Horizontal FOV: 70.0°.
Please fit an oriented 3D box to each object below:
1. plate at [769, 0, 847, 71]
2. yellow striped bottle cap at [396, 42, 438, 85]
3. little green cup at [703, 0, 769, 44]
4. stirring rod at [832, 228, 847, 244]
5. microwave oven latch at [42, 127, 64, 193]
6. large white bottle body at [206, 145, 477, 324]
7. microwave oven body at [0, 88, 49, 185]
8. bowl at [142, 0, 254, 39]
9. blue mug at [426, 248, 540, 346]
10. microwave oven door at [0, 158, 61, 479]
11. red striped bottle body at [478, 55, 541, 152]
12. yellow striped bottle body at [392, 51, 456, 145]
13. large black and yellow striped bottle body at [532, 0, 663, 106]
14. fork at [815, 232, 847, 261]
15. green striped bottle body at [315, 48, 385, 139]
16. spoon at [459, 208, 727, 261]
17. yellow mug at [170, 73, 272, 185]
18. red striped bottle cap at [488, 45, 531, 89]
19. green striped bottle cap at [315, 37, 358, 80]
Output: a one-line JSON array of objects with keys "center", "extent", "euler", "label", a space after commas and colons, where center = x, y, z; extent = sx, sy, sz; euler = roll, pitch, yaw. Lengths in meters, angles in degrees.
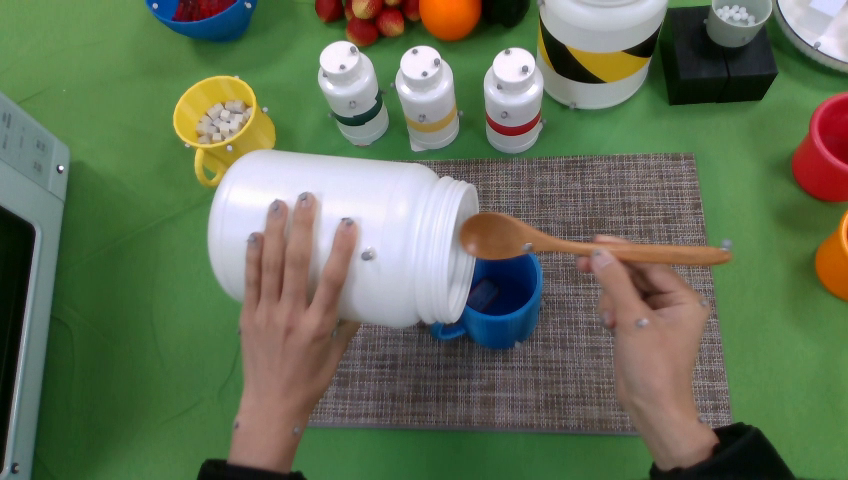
[{"center": [0.507, -0.276, 0.704], "extent": [0.209, 0.038, 0.207], "euler": [-2, 68, 6], "label": "plate"}, {"center": [-0.007, -0.183, 0.629], "extent": [0.044, 0.019, 0.044], "euler": [-1, 65, 2], "label": "yellow striped bottle cap"}, {"center": [0.335, -0.245, 0.657], "extent": [0.061, 0.039, 0.061], "euler": [-2, 65, 4], "label": "little green cup"}, {"center": [0.413, 0.026, 0.538], "extent": [0.014, 0.006, 0.175], "euler": [2, 25, 6], "label": "stirring rod"}, {"center": [-0.456, -0.095, 0.730], "extent": [0.030, 0.030, 0.078], "euler": [-8, 68, 4], "label": "microwave oven latch"}, {"center": [-0.058, -0.004, 0.481], "extent": [0.184, 0.132, 0.130], "euler": [7, 69, 14], "label": "large white bottle body"}, {"center": [-0.592, 0.053, 0.582], "extent": [0.326, 0.262, 0.438], "euler": [-9, 68, 3], "label": "microwave oven body"}, {"center": [-0.284, -0.322, 0.800], "extent": [0.151, 0.077, 0.150], "euler": [-2, 68, 6], "label": "bowl"}, {"center": [0.053, 0.058, 0.583], "extent": [0.116, 0.107, 0.081], "euler": [-30, 66, -5], "label": "blue mug"}, {"center": [-0.444, 0.066, 0.552], "extent": [0.039, 0.246, 0.353], "euler": [-10, 67, 4], "label": "microwave oven door"}, {"center": [0.094, -0.154, 0.662], "extent": [0.063, 0.121, 0.062], "euler": [-5, 64, 11], "label": "red striped bottle body"}, {"center": [0.000, -0.164, 0.676], "extent": [0.063, 0.121, 0.062], "euler": [-3, 67, 7], "label": "yellow striped bottle body"}, {"center": [0.185, -0.248, 0.653], "extent": [0.130, 0.185, 0.130], "euler": [-3, 67, 7], "label": "large black and yellow striped bottle body"}, {"center": [0.441, 0.028, 0.526], "extent": [0.028, 0.019, 0.205], "euler": [-26, 22, -13], "label": "fork"}, {"center": [-0.085, -0.172, 0.691], "extent": [0.063, 0.120, 0.062], "euler": [-2, 67, 6], "label": "green striped bottle body"}, {"center": [0.109, 0.002, 0.434], "extent": [0.192, 0.042, 0.021], "euler": [7, 27, 33], "label": "spoon"}, {"center": [-0.246, -0.127, 0.722], "extent": [0.100, 0.064, 0.130], "euler": [9, 70, 11], "label": "yellow mug"}, {"center": [0.087, -0.176, 0.613], "extent": [0.044, 0.018, 0.044], "euler": [-1, 66, 3], "label": "red striped bottle cap"}, {"center": [-0.093, -0.193, 0.643], "extent": [0.044, 0.020, 0.044], "euler": [-2, 67, 4], "label": "green striped bottle cap"}]
